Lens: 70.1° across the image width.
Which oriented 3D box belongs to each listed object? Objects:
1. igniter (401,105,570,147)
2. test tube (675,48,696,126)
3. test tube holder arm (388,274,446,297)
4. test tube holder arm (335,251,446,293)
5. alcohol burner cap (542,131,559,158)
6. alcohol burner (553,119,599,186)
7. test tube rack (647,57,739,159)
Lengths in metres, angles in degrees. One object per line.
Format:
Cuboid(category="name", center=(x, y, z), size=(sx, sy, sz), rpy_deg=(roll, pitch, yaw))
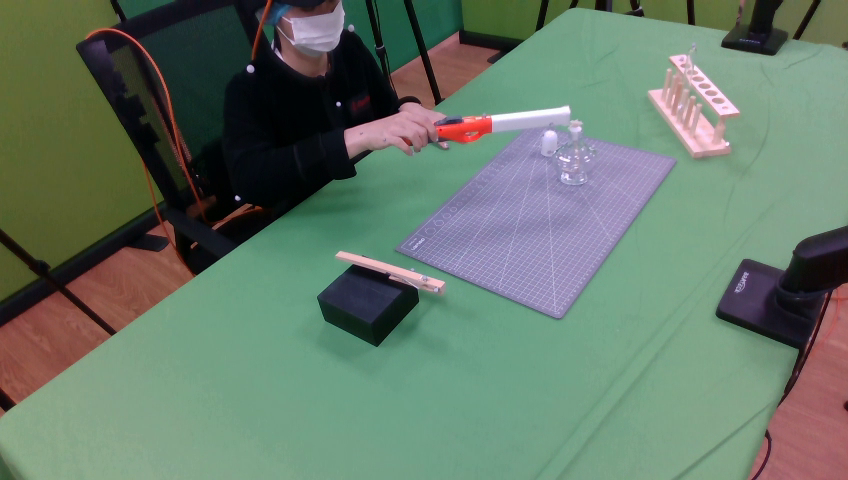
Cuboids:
Cuboid(category="igniter", center=(0.098, -0.186, 0.985), size=(0.277, 0.057, 0.025), rpy_deg=(-8, 54, 0))
Cuboid(category="test tube", center=(0.481, -0.279, 1.112), size=(0.017, 0.151, 0.017), rpy_deg=(-5, 40, 5))
Cuboid(category="test tube holder arm", center=(-0.011, 0.060, 0.838), size=(0.087, 0.010, 0.015), rpy_deg=(17, 39, 24))
Cuboid(category="test tube holder arm", center=(-0.050, 0.043, 0.853), size=(0.177, 0.013, 0.015), rpy_deg=(17, 39, 24))
Cuboid(category="alcohol burner cap", center=(0.238, -0.180, 1.134), size=(0.034, 0.048, 0.033), rpy_deg=(-5, 41, 5))
Cuboid(category="alcohol burner", center=(0.261, -0.153, 1.042), size=(0.078, 0.119, 0.077), rpy_deg=(-6, 40, 6))
Cuboid(category="test tube rack", center=(0.504, -0.257, 1.153), size=(0.067, 0.085, 0.241), rpy_deg=(-8, 40, 2))
